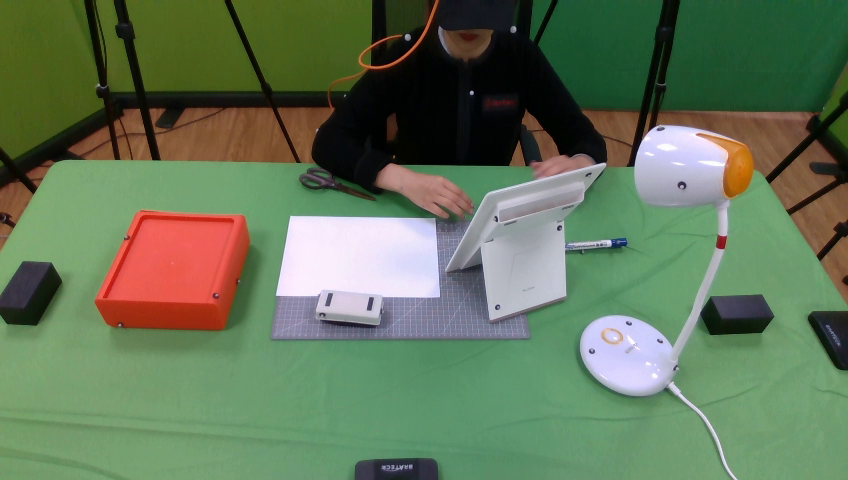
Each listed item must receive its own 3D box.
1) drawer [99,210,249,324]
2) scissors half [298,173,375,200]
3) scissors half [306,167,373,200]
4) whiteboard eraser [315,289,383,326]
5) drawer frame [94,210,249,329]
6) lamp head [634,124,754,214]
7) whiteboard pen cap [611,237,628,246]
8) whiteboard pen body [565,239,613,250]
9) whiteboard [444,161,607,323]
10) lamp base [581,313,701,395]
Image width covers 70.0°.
[{"bbox_3d":[-0.435,0.044,1.081,0.194,0.073,0.210,3,47,-2],"label":"drawer"},{"bbox_3d":[-0.188,-0.110,1.296,0.175,0.013,0.040,15,42,5],"label":"scissors half"},{"bbox_3d":[-0.180,-0.121,1.311,0.174,0.013,0.040,27,39,18],"label":"scissors half"},{"bbox_3d":[-0.130,0.119,1.054,0.113,0.042,0.055,6,47,1],"label":"whiteboard eraser"},{"bbox_3d":[-0.434,0.048,1.076,0.202,0.083,0.212,2,47,-3],"label":"drawer frame"},{"bbox_3d":[0.351,-0.089,0.776,0.112,0.113,0.122,-30,30,-28],"label":"lamp head"},{"bbox_3d":[0.390,0.004,1.215,0.033,0.018,0.018,-7,47,-2],"label":"whiteboard pen cap"},{"bbox_3d":[0.331,0.008,1.212,0.141,0.017,0.017,-5,47,-4],"label":"whiteboard pen body"},{"bbox_3d":[0.186,0.025,1.029,0.217,0.306,0.143,-14,68,-18],"label":"whiteboard"},{"bbox_3d":[0.361,0.144,0.972,0.178,0.181,0.160,34,53,23],"label":"lamp base"}]
